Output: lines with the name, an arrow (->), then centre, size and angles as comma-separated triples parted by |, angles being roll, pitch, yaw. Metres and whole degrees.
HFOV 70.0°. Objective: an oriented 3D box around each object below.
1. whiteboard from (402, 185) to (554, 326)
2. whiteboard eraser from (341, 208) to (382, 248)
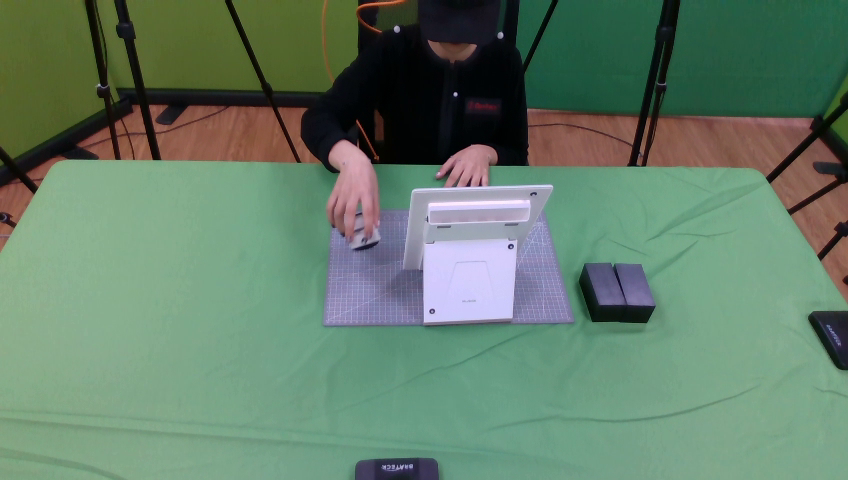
whiteboard -> 0.081, 0.044, 1.005 | 0.217, 0.306, 0.143 | -1, 66, -6
whiteboard eraser -> -0.117, -0.021, 1.120 | 0.055, 0.042, 0.112 | -22, 26, -9
